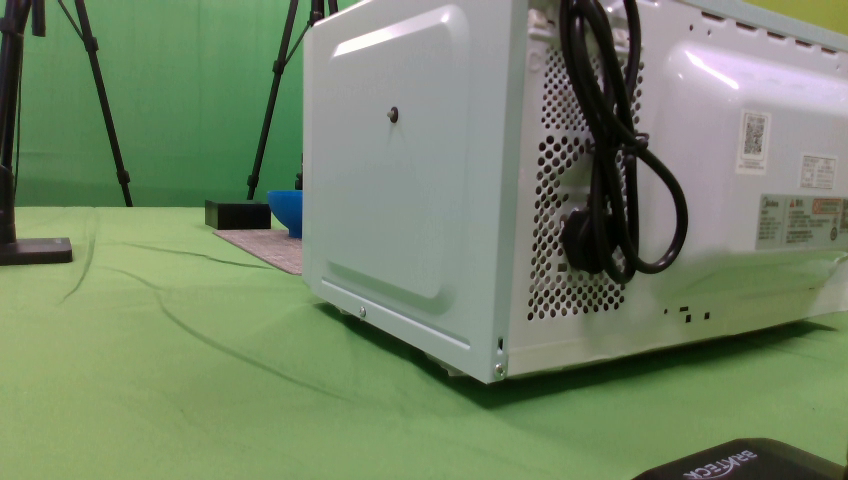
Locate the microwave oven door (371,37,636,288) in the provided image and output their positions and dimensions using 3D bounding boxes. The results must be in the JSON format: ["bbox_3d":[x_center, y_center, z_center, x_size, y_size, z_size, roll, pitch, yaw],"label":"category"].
[{"bbox_3d":[0.109,-0.080,0.687,0.358,0.243,0.039,-2,9,-33],"label":"microwave oven door"}]

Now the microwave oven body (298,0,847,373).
[{"bbox_3d":[0.151,-0.055,0.543,0.444,0.260,0.324,-1,7,-33],"label":"microwave oven body"}]

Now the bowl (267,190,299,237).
[{"bbox_3d":[-0.202,-0.046,1.070,0.151,0.077,0.151,3,7,0],"label":"bowl"}]

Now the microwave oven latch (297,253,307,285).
[{"bbox_3d":[-0.082,0.027,0.583,0.079,0.029,0.030,-1,7,-33],"label":"microwave oven latch"}]
